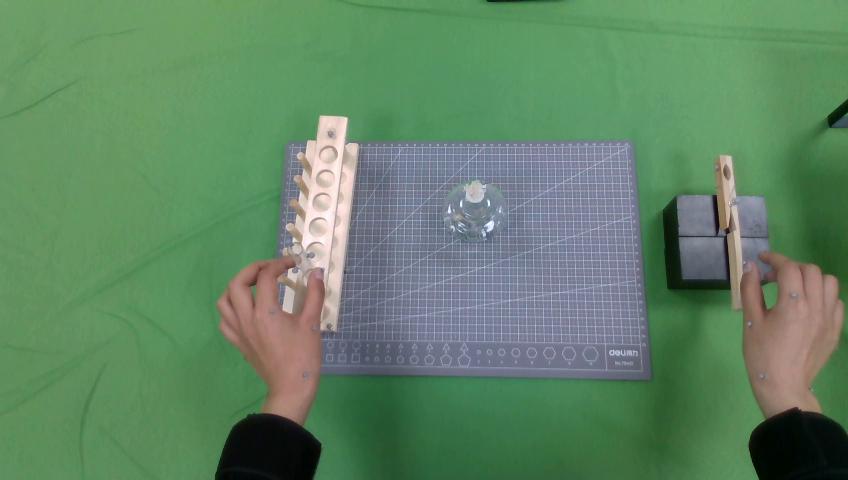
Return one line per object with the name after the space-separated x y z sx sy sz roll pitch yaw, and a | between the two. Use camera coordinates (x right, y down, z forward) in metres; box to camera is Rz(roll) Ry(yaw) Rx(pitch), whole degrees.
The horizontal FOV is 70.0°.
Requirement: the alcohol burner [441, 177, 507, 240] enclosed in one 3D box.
0.058 -0.041 0.700 0.078 0.120 0.077 -1 76 4 | alcohol burner

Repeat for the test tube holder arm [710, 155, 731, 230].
0.340 -0.054 0.692 0.010 0.015 0.087 0 75 -2 | test tube holder arm

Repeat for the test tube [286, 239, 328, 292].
-0.123 0.032 0.652 0.017 0.151 0.017 0 70 1 | test tube

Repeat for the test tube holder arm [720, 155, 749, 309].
0.346 -0.011 0.681 0.013 0.015 0.177 -1 75 -3 | test tube holder arm

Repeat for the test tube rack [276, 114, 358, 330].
-0.131 -0.022 0.718 0.067 0.085 0.241 4 75 4 | test tube rack
